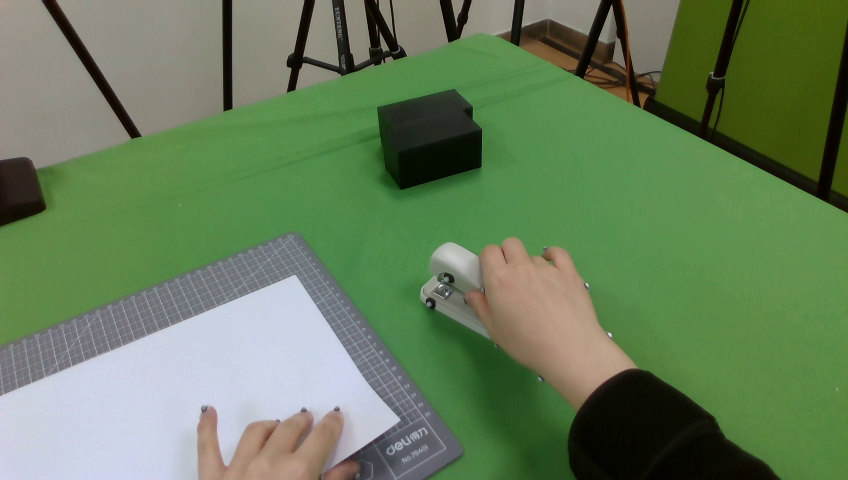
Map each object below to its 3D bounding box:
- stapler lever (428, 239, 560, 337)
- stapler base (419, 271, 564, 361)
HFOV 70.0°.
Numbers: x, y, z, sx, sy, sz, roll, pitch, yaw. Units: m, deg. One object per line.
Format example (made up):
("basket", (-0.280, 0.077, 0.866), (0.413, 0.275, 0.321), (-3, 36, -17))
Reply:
("stapler lever", (0.054, 0.036, 0.495), (0.117, 0.040, 0.027), (26, 51, 28))
("stapler base", (0.054, 0.054, 0.511), (0.129, 0.024, 0.041), (27, 52, 27))
